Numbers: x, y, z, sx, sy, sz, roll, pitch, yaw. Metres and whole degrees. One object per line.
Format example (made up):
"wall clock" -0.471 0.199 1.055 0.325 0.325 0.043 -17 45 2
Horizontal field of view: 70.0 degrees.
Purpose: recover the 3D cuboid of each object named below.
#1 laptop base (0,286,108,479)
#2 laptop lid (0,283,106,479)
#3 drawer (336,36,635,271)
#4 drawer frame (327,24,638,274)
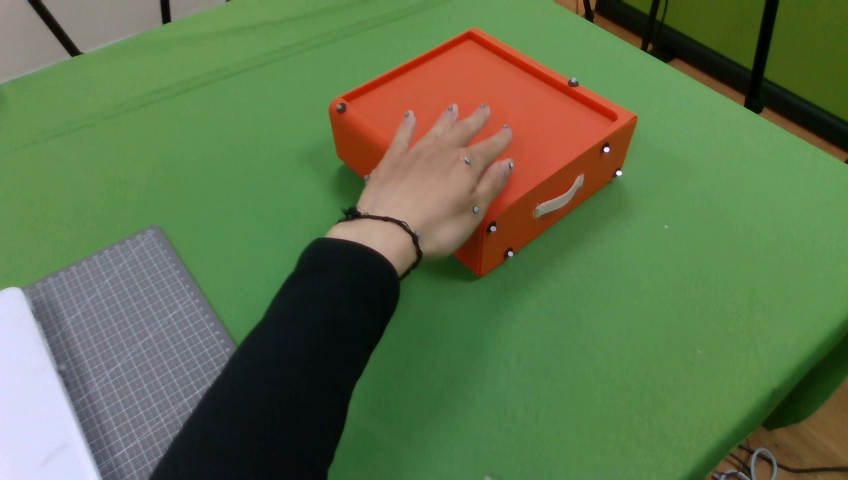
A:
"laptop base" -0.408 0.193 0.392 0.354 0.023 0.233 -31 59 -22
"laptop lid" -0.407 0.187 0.382 0.357 0.013 0.239 -29 58 -21
"drawer" 0.054 -0.097 0.581 0.194 0.074 0.209 -35 57 -24
"drawer frame" 0.052 -0.098 0.581 0.201 0.083 0.211 -36 57 -24
